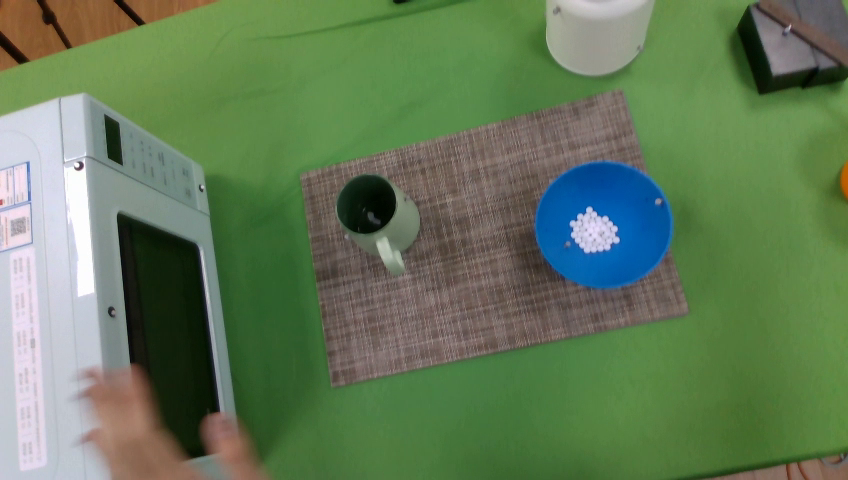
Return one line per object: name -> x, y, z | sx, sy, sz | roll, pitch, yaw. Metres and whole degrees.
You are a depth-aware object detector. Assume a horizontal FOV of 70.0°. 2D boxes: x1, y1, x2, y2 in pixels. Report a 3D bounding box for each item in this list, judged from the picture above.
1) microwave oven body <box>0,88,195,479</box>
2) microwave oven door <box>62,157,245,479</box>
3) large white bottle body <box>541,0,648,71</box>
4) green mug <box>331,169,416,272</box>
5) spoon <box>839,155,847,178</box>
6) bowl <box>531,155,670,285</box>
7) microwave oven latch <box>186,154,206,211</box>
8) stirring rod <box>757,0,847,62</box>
microwave oven body -> -0.449, 0.107, 0.724 | 0.326, 0.261, 0.439 | -15, 76, 7
microwave oven door -> -0.300, 0.108, 0.690 | 0.039, 0.245, 0.353 | -15, 76, 8
large white bottle body -> 0.204, -0.303, 0.725 | 0.130, 0.186, 0.130 | -2, 78, 11
green mug -> -0.057, -0.019, 0.755 | 0.092, 0.105, 0.124 | -22, 75, 5
spoon -> 0.543, -0.078, 0.633 | 0.022, 0.192, 0.041 | 32, 79, -28
bowl -> 0.204, -0.016, 0.717 | 0.151, 0.077, 0.150 | -2, 78, 11
microwave oven latch -> -0.326, -0.077, 0.839 | 0.030, 0.029, 0.078 | -15, 77, 7
stirring rod -> 0.458, -0.237, 0.700 | 0.175, 0.006, 0.014 | 44, 123, 15
